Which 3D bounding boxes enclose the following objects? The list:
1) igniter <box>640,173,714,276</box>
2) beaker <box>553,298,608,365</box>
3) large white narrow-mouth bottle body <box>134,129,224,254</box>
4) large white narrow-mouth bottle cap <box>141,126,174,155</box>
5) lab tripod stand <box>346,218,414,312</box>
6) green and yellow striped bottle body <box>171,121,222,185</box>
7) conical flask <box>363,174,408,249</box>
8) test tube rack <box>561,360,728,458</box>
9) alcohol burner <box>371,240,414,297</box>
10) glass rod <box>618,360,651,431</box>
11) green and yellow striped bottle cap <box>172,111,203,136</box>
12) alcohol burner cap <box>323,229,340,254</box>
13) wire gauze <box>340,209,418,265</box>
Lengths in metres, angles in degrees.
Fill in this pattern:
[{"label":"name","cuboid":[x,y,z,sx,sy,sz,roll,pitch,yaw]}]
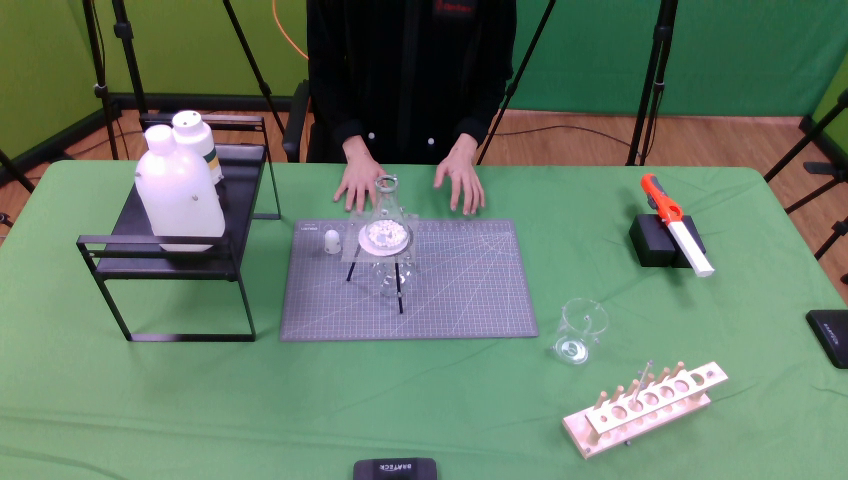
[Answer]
[{"label":"igniter","cuboid":[0.495,-0.039,1.204,0.057,0.025,0.274,-2,47,-12]},{"label":"beaker","cuboid":[0.260,0.154,1.015,0.073,0.101,0.084,37,54,27]},{"label":"large white narrow-mouth bottle body","cuboid":[-0.358,-0.075,0.875,0.102,0.195,0.101,1,48,-1]},{"label":"large white narrow-mouth bottle cap","cuboid":[-0.356,-0.133,0.811,0.038,0.024,0.037,2,48,-1]},{"label":"lab tripod stand","cuboid":[-0.070,0.037,1.075,0.148,0.132,0.147,1,47,-1]},{"label":"green and yellow striped bottle body","cuboid":[-0.375,-0.149,0.995,0.063,0.120,0.063,2,46,-2]},{"label":"conical flask","cuboid":[-0.063,-0.050,0.985,0.075,0.122,0.075,2,46,-2]},{"label":"test tube rack","cuboid":[0.341,0.247,0.940,0.243,0.085,0.066,-15,49,-18]},{"label":"alcohol burner","cuboid":[-0.057,0.046,1.082,0.078,0.120,0.077,1,46,0]},{"label":"glass rod","cuboid":[0.298,0.227,0.865,0.008,0.201,0.008,-2,48,2]},{"label":"green and yellow striped bottle cap","cuboid":[-0.374,-0.185,0.958,0.045,0.020,0.045,4,46,-3]},{"label":"alcohol burner cap","cuboid":[-0.179,0.001,1.165,0.034,0.048,0.033,2,45,-2]},{"label":"wire gauze","cuboid":[-0.074,-0.006,1.024,0.121,0.011,0.124,2,48,1]}]
